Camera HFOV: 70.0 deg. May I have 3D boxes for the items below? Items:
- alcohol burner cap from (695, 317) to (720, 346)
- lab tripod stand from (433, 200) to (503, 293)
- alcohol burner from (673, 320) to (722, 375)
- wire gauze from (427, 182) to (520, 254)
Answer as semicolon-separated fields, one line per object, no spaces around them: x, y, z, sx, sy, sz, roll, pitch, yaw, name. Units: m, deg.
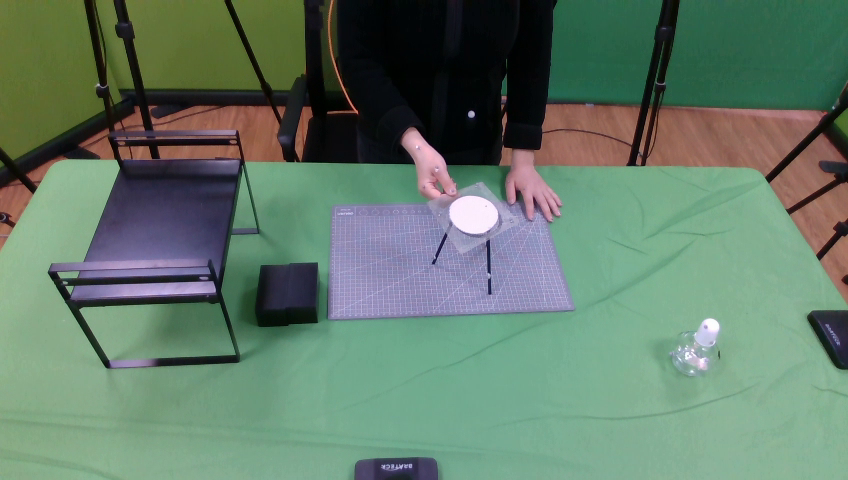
0.459;0.145;0.975;0.034;0.048;0.033;-3;45;3;alcohol burner cap
0.095;0.006;1.116;0.148;0.132;0.147;3;46;-3;lab tripod stand
0.458;0.170;1.002;0.078;0.120;0.077;1;45;-1;alcohol burner
0.085;-0.045;1.047;0.121;0.011;0.124;-24;56;-18;wire gauze
